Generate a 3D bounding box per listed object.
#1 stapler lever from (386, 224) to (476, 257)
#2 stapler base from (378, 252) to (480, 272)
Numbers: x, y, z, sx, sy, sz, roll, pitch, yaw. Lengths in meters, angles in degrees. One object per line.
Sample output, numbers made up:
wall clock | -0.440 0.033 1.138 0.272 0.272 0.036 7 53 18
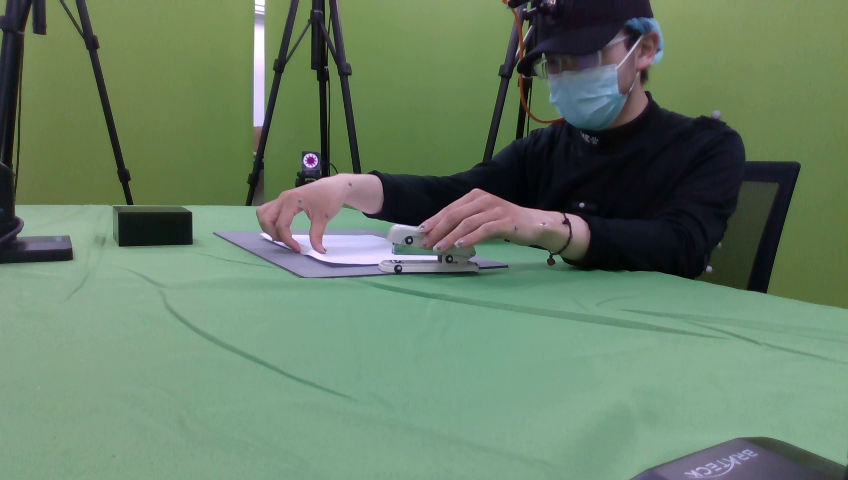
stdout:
stapler lever | 0.009 0.001 0.777 0.118 0.040 0.026 2 8 -19
stapler base | 0.006 0.027 0.779 0.131 0.024 0.041 2 8 -18
